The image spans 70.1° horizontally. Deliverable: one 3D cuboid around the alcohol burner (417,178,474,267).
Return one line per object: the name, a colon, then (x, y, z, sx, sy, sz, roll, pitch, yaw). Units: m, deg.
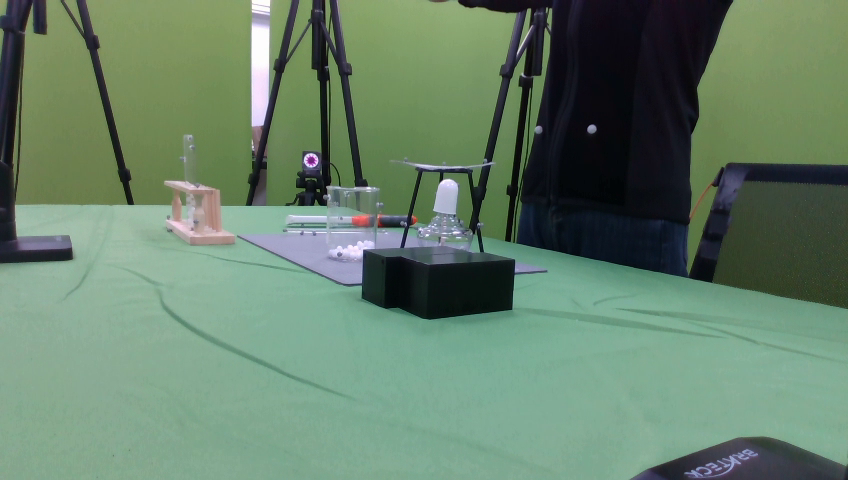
alcohol burner: (0.029, -0.024, 0.810, 0.078, 0.119, 0.078, 1, 9, 0)

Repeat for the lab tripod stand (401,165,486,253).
lab tripod stand: (0.028, -0.049, 0.930, 0.148, 0.131, 0.148, 2, 9, 0)

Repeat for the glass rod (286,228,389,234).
glass rod: (-0.154, -0.016, 1.101, 0.201, 0.008, 0.008, 1, 6, -31)

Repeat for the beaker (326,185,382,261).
beaker: (-0.100, -0.025, 0.835, 0.074, 0.100, 0.083, 0, 7, -23)

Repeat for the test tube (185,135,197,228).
test tube: (-0.376, -0.094, 0.977, 0.017, 0.150, 0.017, -1, 3, 0)

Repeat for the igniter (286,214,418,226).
igniter: (-0.146, -0.043, 1.263, 0.278, 0.025, 0.057, -1, -2, -24)

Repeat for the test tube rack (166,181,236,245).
test tube rack: (-0.383, -0.051, 1.024, 0.067, 0.085, 0.241, -2, 9, -31)

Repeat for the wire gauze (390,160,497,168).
wire gauze: (0.027, -0.115, 0.919, 0.122, 0.011, 0.124, -4, 10, -34)

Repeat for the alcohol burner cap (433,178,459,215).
alcohol burner cap: (0.031, -0.060, 0.806, 0.034, 0.048, 0.034, 9, 10, -1)
